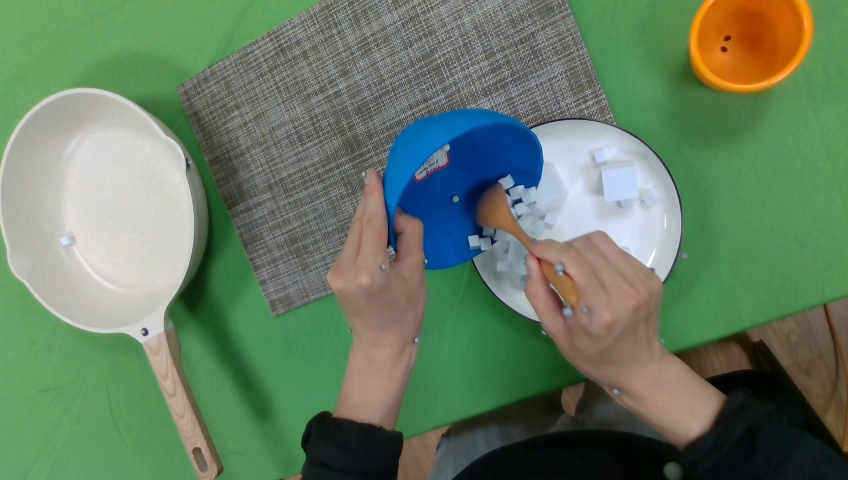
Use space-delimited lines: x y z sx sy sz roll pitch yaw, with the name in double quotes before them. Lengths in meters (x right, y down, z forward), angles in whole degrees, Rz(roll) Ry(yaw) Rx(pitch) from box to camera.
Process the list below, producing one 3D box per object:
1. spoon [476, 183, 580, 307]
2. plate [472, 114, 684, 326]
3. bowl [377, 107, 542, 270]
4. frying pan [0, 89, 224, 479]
"spoon" 0.077 -0.001 0.469 0.022 0.191 0.042 26 106 -27
"plate" 0.146 -0.019 0.604 0.207 0.039 0.208 3 101 16
"bowl" 0.017 -0.056 0.515 0.151 0.153 0.076 -51 53 17
"frying pan" -0.347 0.060 0.733 0.306 0.103 0.486 -27 81 19
